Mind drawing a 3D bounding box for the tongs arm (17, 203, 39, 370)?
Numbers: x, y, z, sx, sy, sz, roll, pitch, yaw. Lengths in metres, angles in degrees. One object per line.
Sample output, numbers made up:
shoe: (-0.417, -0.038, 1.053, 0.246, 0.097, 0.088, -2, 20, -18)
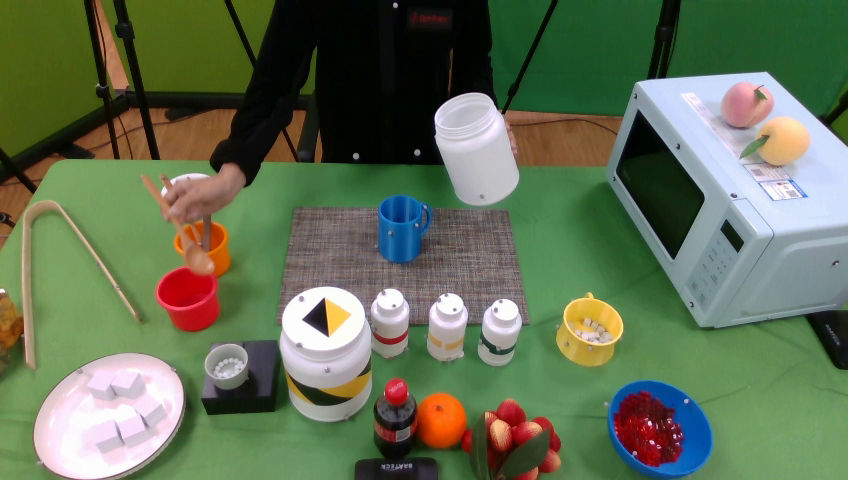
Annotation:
tongs arm: (-0.698, 0.068, 1.069, 0.028, 0.028, 0.385, -20, 50, -13)

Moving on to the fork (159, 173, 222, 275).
fork: (-0.427, -0.029, 1.103, 0.028, 0.018, 0.207, -31, 99, -32)

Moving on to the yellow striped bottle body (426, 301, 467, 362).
yellow striped bottle body: (0.037, 0.143, 0.996, 0.063, 0.121, 0.062, 2, 46, -2)

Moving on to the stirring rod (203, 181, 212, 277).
stirring rod: (-0.396, -0.021, 1.108, 0.014, 0.006, 0.176, -1, 89, -2)

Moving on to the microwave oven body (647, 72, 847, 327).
microwave oven body: (0.607, -0.089, 1.164, 0.326, 0.261, 0.438, -7, 46, -10)

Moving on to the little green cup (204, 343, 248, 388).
little green cup: (-0.294, 0.190, 0.909, 0.061, 0.039, 0.061, 1, 48, 0)

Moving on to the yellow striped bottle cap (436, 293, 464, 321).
yellow striped bottle cap: (0.041, 0.106, 0.959, 0.044, 0.019, 0.044, -1, 49, 1)

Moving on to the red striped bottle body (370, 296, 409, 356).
red striped bottle body: (-0.058, 0.134, 0.997, 0.063, 0.120, 0.062, 4, 47, -4)

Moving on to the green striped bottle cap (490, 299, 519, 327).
green striped bottle cap: (0.128, 0.115, 0.958, 0.044, 0.020, 0.044, 1, 46, -1)

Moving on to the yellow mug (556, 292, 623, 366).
yellow mug: (0.285, 0.145, 1.051, 0.100, 0.064, 0.130, 7, 45, 3)

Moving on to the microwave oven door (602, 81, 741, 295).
microwave oven door: (0.456, -0.107, 1.162, 0.039, 0.245, 0.353, -7, 47, -11)

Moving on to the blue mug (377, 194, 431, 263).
blue mug: (-0.035, -0.027, 1.159, 0.116, 0.106, 0.082, -24, 53, -26)

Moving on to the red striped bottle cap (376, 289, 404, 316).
red striped bottle cap: (-0.054, 0.098, 0.958, 0.044, 0.018, 0.044, 0, 48, 1)

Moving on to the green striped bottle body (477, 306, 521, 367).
green striped bottle body: (0.124, 0.151, 0.995, 0.063, 0.120, 0.063, 2, 46, -2)

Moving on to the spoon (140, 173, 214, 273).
spoon: (-0.399, -0.028, 0.976, 0.041, 0.021, 0.193, -32, 93, -51)

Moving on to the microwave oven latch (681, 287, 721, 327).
microwave oven latch: (0.494, 0.119, 1.087, 0.030, 0.029, 0.078, -6, 46, -9)

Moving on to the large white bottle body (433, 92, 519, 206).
large white bottle body: (0.096, -0.170, 1.136, 0.130, 0.186, 0.130, -13, 43, 13)

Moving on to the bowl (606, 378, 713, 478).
bowl: (0.340, 0.292, 0.906, 0.151, 0.077, 0.150, 2, 46, -2)

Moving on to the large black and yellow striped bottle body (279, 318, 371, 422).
large black and yellow striped bottle body: (-0.145, 0.173, 0.907, 0.131, 0.185, 0.130, 2, 46, -2)

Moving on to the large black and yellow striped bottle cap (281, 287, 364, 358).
large black and yellow striped bottle cap: (-0.141, 0.112, 0.847, 0.115, 0.019, 0.114, 5, 45, -4)

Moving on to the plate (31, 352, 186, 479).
plate: (-0.459, 0.262, 0.898, 0.209, 0.038, 0.208, 2, 46, -2)

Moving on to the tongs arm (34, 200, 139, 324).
tongs arm: (-0.622, 0.034, 1.105, 0.051, 0.026, 0.382, -31, 55, -26)

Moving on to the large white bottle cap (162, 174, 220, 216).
large white bottle cap: (-0.483, -0.095, 1.253, 0.115, 0.018, 0.114, 3, 46, -3)
